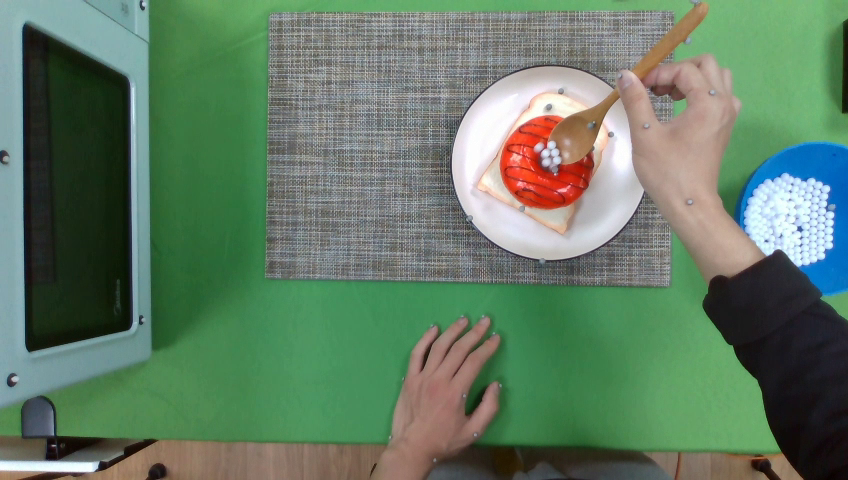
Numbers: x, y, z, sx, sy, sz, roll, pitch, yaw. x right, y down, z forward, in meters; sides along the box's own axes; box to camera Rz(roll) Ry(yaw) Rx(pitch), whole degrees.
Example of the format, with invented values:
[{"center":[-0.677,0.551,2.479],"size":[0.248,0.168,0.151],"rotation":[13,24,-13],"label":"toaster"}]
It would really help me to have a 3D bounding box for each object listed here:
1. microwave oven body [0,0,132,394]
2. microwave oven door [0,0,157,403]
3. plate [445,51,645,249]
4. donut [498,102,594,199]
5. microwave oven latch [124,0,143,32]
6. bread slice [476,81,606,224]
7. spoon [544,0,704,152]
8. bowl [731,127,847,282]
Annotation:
[{"center":[-0.476,-0.090,0.575],"size":[0.326,0.260,0.441],"rotation":[-1,91,3],"label":"microwave oven body"},{"center":[-0.329,-0.051,0.562],"size":[0.039,0.244,0.355],"rotation":[-2,90,4],"label":"microwave oven door"},{"center":[0.127,-0.093,0.651],"size":[0.207,0.039,0.207],"rotation":[0,91,3],"label":"plate"},{"center":[0.125,-0.091,0.623],"size":[0.099,0.048,0.099],"rotation":[0,90,4],"label":"donut"},{"center":[-0.325,-0.270,0.661],"size":[0.030,0.029,0.079],"rotation":[-1,91,3],"label":"microwave oven latch"},{"center":[0.130,-0.101,0.653],"size":[0.107,0.018,0.134],"rotation":[26,94,3],"label":"bread slice"},{"center":[0.164,-0.136,0.514],"size":[0.021,0.194,0.041],"rotation":[-32,82,-32],"label":"spoon"},{"center":[0.381,-0.033,0.621],"size":[0.151,0.077,0.151],"rotation":[0,90,3],"label":"bowl"}]
